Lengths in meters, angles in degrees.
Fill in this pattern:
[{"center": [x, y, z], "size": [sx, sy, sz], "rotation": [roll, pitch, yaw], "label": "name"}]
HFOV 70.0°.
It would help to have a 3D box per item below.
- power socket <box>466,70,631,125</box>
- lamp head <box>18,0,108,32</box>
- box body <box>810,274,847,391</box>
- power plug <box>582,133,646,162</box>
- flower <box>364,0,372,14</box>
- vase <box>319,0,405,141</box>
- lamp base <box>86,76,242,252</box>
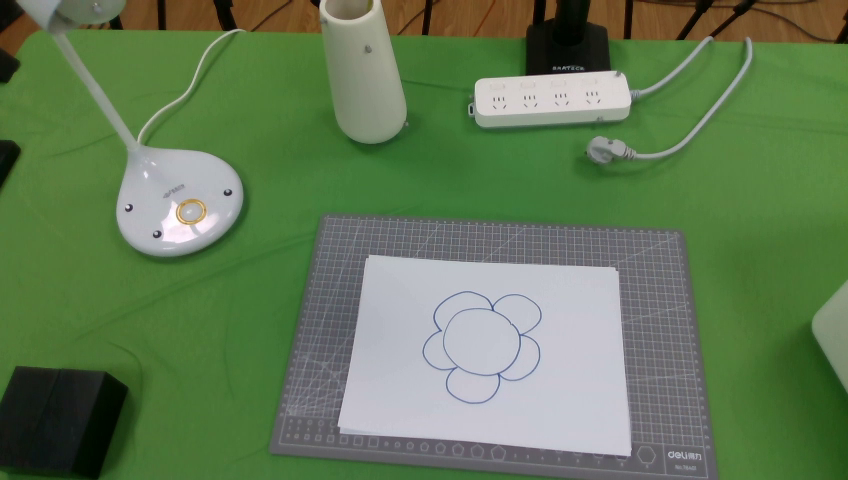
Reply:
[{"center": [0.172, -0.198, 0.838], "size": [0.227, 0.033, 0.071], "rotation": [-2, 60, 2], "label": "power socket"}, {"center": [-0.299, -0.242, 0.469], "size": [0.123, 0.112, 0.112], "rotation": [43, 64, -17], "label": "lamp head"}, {"center": [0.562, 0.159, 0.527], "size": [0.254, 0.162, 0.360], "rotation": [-13, 59, -4], "label": "box body"}, {"center": [0.240, -0.109, 0.781], "size": [0.073, 0.052, 0.035], "rotation": [37, 75, -8], "label": "power plug"}, {"center": [-0.066, -0.253, 0.692], "size": [0.044, 0.363, 0.038], "rotation": [-35, 80, -26], "label": "flower"}, {"center": [-0.080, -0.219, 0.769], "size": [0.098, 0.202, 0.097], "rotation": [-2, 59, 4], "label": "vase"}, {"center": [-0.330, -0.100, 0.724], "size": [0.178, 0.182, 0.160], "rotation": [33, 66, 24], "label": "lamp base"}]
